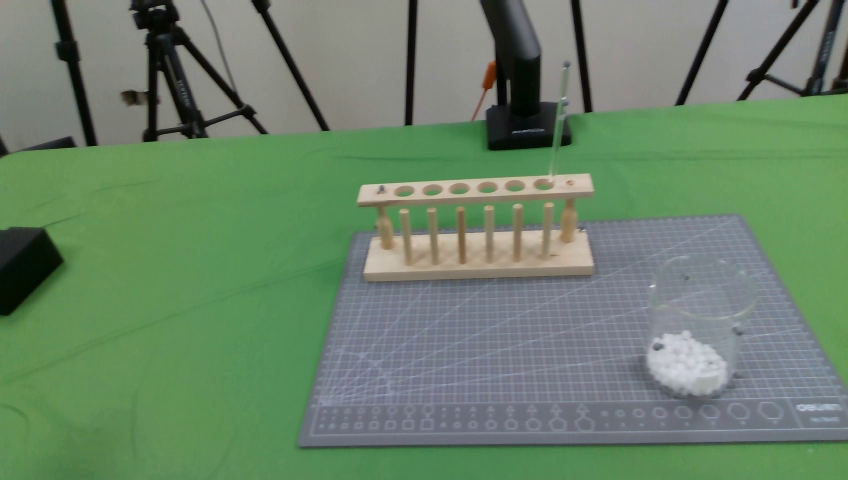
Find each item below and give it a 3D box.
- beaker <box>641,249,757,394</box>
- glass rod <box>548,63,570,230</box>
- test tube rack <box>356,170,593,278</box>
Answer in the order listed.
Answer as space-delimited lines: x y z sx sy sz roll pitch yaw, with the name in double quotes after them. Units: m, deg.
0.216 0.070 0.493 0.084 0.101 0.073 -14 38 -8 "beaker"
0.132 -0.080 0.603 0.008 0.201 0.008 -2 39 2 "glass rod"
0.053 -0.016 0.643 0.242 0.086 0.066 -2 38 7 "test tube rack"
